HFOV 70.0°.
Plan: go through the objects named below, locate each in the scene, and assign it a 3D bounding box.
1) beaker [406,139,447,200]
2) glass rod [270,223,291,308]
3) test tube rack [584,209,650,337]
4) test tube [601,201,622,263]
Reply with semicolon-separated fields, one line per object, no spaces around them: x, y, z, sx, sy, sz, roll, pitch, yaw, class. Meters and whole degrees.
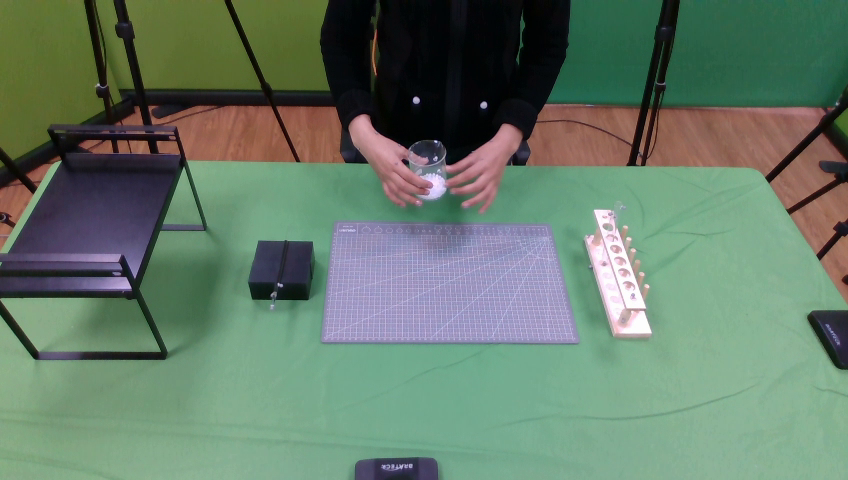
0.009;-0.134;1.169;0.073;0.101;0.084;27;57;25;beaker
-0.255;0.041;1.082;0.008;0.008;0.198;2;46;-2;glass rod
0.365;0.056;1.129;0.067;0.085;0.240;1;46;-4;test tube rack
0.346;-0.012;1.123;0.017;0.151;0.017;-2;44;2;test tube
